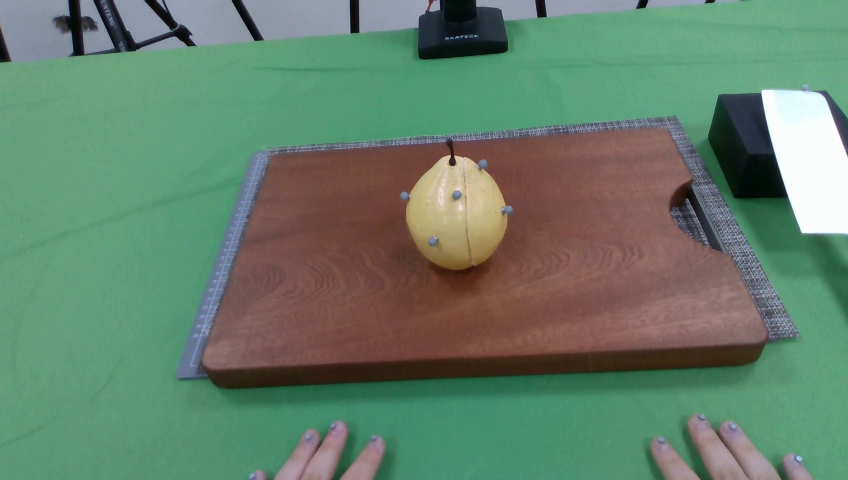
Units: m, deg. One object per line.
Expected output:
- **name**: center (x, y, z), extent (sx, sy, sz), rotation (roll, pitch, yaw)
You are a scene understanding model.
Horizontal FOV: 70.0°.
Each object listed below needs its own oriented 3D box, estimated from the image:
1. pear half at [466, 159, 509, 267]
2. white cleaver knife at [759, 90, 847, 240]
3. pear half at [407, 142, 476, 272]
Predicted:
- **pear half**: center (0.049, -0.022, 0.466), extent (0.031, 0.089, 0.070), rotation (-3, 35, 4)
- **white cleaver knife**: center (0.329, -0.022, 0.487), extent (0.066, 0.022, 0.284), rotation (-3, 54, 10)
- **pear half**: center (0.013, -0.028, 0.463), extent (0.056, 0.111, 0.075), rotation (-3, 39, 4)
